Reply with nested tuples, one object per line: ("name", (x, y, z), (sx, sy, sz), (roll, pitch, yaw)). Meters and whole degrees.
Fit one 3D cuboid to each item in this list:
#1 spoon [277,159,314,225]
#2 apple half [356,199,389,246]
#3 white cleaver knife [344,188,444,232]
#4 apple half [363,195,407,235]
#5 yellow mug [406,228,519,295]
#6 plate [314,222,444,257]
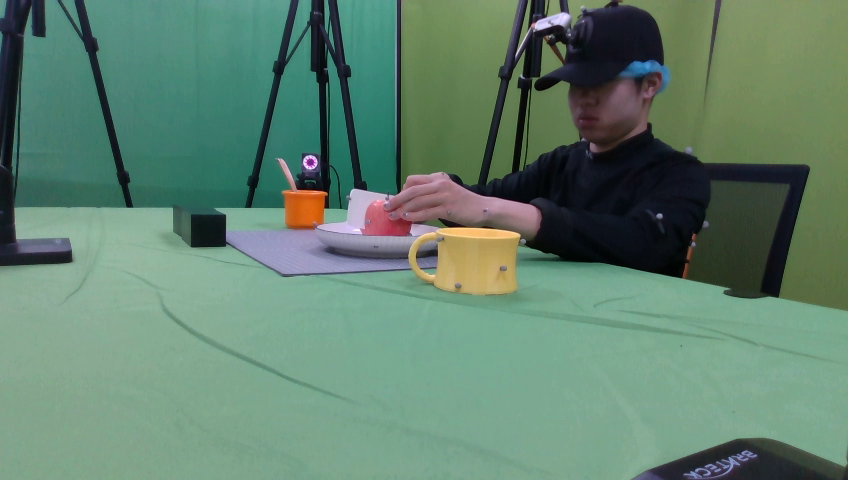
("spoon", (-0.272, -0.103, 1.260), (0.042, 0.193, 0.021), (-4, -34, -33))
("apple half", (-0.086, -0.028, 0.944), (0.032, 0.081, 0.081), (4, 7, 28))
("white cleaver knife", (-0.045, -0.045, 0.988), (0.021, 0.066, 0.288), (6, 4, 31))
("apple half", (-0.054, -0.028, 0.930), (0.053, 0.074, 0.081), (16, 12, 18))
("yellow mug", (0.044, 0.022, 0.707), (0.131, 0.064, 0.100), (2, 7, 5))
("plate", (-0.066, -0.002, 0.948), (0.209, 0.038, 0.209), (3, 7, 0))
